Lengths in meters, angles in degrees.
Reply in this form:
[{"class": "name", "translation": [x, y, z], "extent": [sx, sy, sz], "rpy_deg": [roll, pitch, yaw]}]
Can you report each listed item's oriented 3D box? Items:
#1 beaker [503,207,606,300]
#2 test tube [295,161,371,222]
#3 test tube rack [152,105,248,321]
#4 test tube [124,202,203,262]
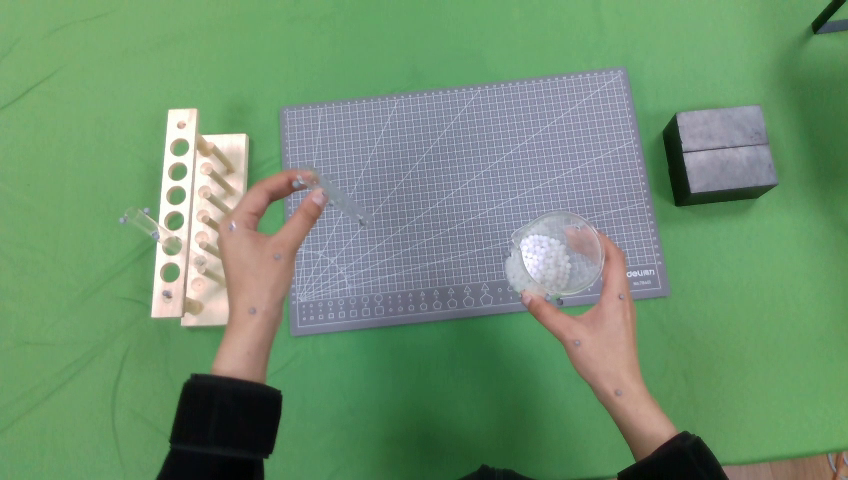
[{"class": "beaker", "translation": [0.113, 0.016, 0.564], "extent": [0.084, 0.100, 0.074], "rpy_deg": [21, 78, 2]}, {"class": "test tube", "translation": [-0.080, -0.041, 0.565], "extent": [0.017, 0.151, 0.017], "rpy_deg": [-3, 76, 14]}, {"class": "test tube rack", "translation": [-0.259, -0.030, 0.715], "extent": [0.067, 0.085, 0.241], "rpy_deg": [-2, 77, 3]}, {"class": "test tube", "translation": [-0.278, -0.005, 0.659], "extent": [0.017, 0.151, 0.017], "rpy_deg": [-2, 70, 5]}]
